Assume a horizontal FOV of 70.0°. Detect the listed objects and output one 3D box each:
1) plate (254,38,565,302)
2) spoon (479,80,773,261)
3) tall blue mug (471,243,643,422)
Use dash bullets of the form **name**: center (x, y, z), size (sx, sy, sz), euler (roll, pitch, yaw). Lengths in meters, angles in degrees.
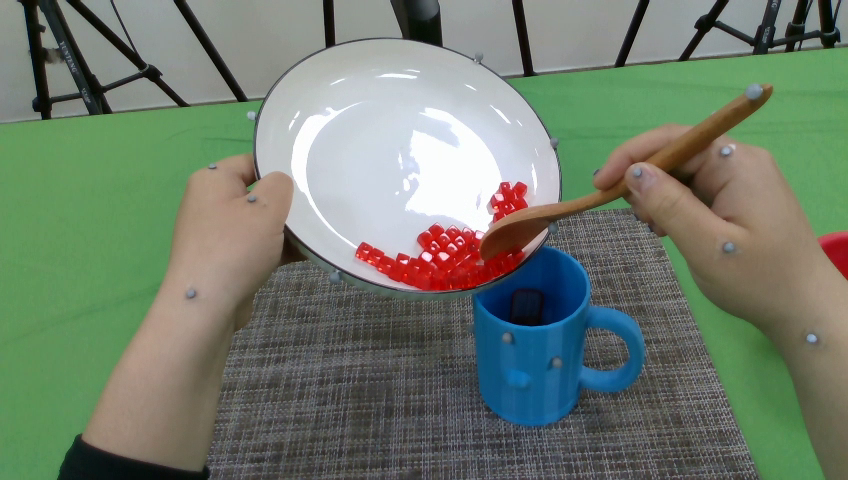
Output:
- **plate**: center (-0.008, -0.050, 0.414), size (0.208, 0.039, 0.206), euler (6, 60, -11)
- **spoon**: center (0.094, -0.027, 0.322), size (0.042, 0.193, 0.021), euler (2, 71, -34)
- **tall blue mug**: center (0.088, 0.063, 0.424), size (0.107, 0.109, 0.077), euler (-9, 42, -1)
